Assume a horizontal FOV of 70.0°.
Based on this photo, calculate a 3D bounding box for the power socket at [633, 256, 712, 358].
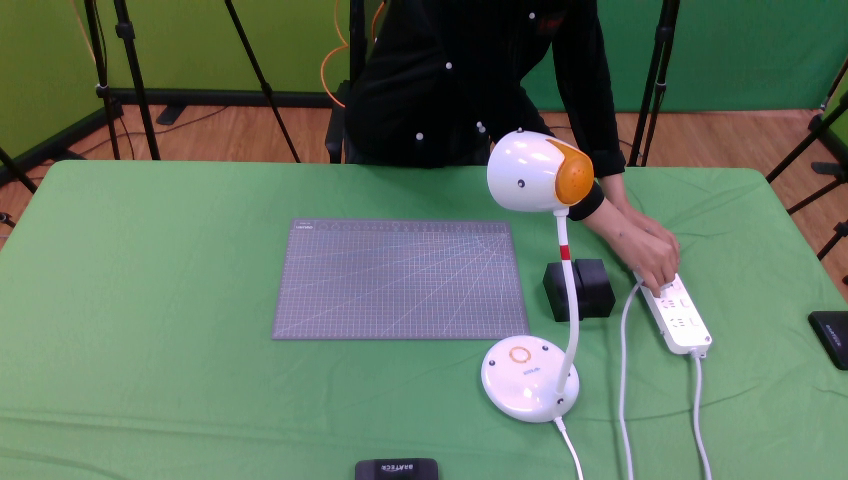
[{"bbox_3d":[0.451,0.115,1.112,0.072,0.033,0.225,-3,46,-5],"label":"power socket"}]

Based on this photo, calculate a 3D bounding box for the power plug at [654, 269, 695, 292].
[{"bbox_3d":[0.450,0.083,1.099,0.035,0.053,0.072,-33,60,-2],"label":"power plug"}]

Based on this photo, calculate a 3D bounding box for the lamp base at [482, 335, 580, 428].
[{"bbox_3d":[0.185,0.178,0.927,0.161,0.181,0.178,-22,53,-23],"label":"lamp base"}]

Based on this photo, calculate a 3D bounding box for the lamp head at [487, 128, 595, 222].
[{"bbox_3d":[0.160,-0.084,0.791,0.112,0.113,0.122,-24,28,-25],"label":"lamp head"}]
